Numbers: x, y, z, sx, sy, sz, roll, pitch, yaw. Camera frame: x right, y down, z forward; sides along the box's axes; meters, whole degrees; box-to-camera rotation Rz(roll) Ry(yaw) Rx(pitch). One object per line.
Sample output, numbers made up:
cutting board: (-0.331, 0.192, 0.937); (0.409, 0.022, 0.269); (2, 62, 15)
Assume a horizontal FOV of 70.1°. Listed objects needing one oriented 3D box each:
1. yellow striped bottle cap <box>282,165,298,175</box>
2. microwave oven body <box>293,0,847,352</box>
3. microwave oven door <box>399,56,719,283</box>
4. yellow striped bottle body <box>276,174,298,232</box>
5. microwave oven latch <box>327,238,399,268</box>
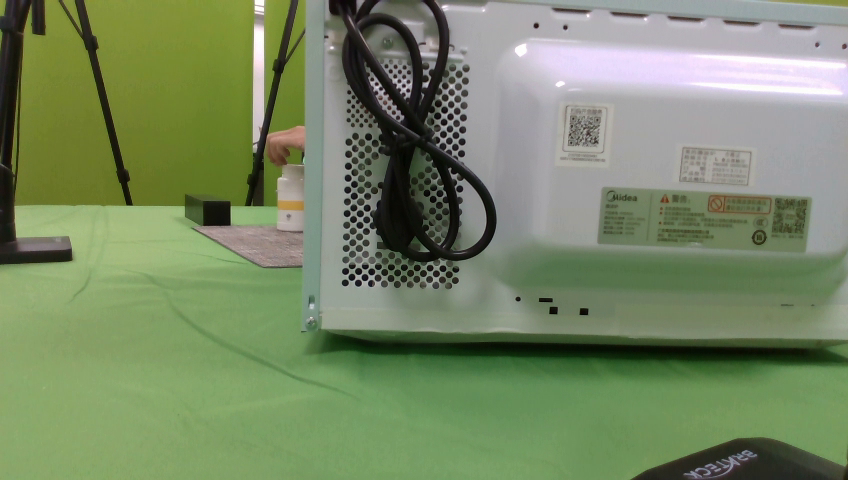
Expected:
yellow striped bottle cap: (-0.241, -0.130, 1.122); (0.044, 0.018, 0.044); (1, 6, 0)
microwave oven body: (0.122, -0.055, 0.550); (0.442, 0.260, 0.325); (3, 7, -5)
microwave oven door: (0.154, -0.078, 0.698); (0.356, 0.243, 0.039); (2, 8, -5)
yellow striped bottle body: (-0.244, -0.077, 1.129); (0.063, 0.120, 0.063); (2, 8, 0)
microwave oven latch: (-0.069, 0.015, 0.694); (0.079, 0.029, 0.030); (3, 7, -3)
